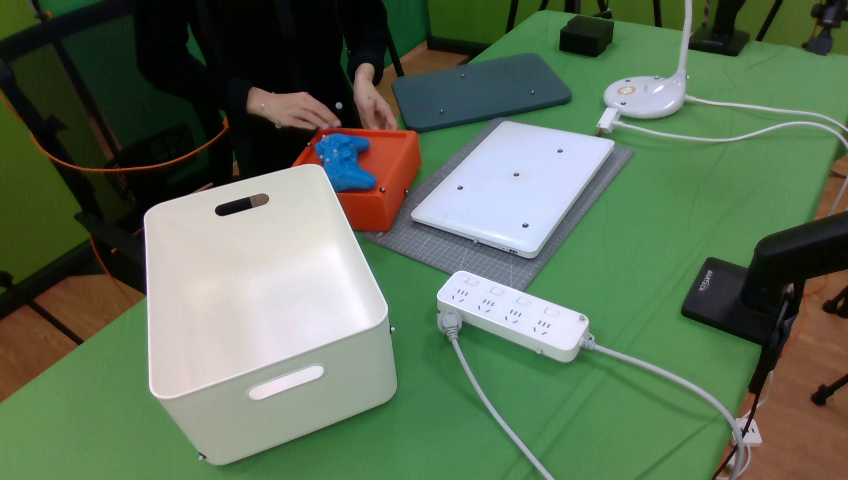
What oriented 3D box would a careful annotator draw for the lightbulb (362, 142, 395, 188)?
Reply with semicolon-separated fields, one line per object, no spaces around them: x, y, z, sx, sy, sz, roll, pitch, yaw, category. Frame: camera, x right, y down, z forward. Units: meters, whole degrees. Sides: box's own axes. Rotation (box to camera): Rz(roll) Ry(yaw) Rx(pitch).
-0.078;-0.135;1.110;0.060;0.060;0.107;-16;53;-11;lightbulb

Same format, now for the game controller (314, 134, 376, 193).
-0.138;-0.136;1.028;0.097;0.052;0.154;-13;39;0;game controller

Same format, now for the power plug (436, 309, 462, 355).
0.032;0.126;0.810;0.035;0.053;0.072;3;59;7;power plug

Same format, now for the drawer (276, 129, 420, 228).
-0.129;-0.115;1.085;0.194;0.073;0.211;5;42;15;drawer

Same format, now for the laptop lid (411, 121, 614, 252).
0.164;-0.112;1.068;0.240;0.013;0.357;19;46;30;laptop lid

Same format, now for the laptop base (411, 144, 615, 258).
0.167;-0.102;1.074;0.234;0.023;0.355;16;45;30;laptop base

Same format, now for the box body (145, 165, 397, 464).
-0.205;0.080;0.802;0.255;0.161;0.361;-18;41;-13;box body

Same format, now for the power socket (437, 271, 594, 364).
0.118;0.102;0.830;0.225;0.033;0.072;20;48;28;power socket

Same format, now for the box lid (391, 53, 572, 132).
0.122;-0.339;1.366;0.372;0.015;0.261;-12;40;-5;box lid

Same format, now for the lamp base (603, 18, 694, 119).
0.460;-0.355;1.205;0.179;0.181;0.160;2;41;7;lamp base

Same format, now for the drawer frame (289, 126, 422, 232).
-0.128;-0.116;1.082;0.201;0.083;0.213;5;42;15;drawer frame

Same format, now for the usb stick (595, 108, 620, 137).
0.355;-0.225;1.175;0.027;0.022;0.059;29;85;41;usb stick
